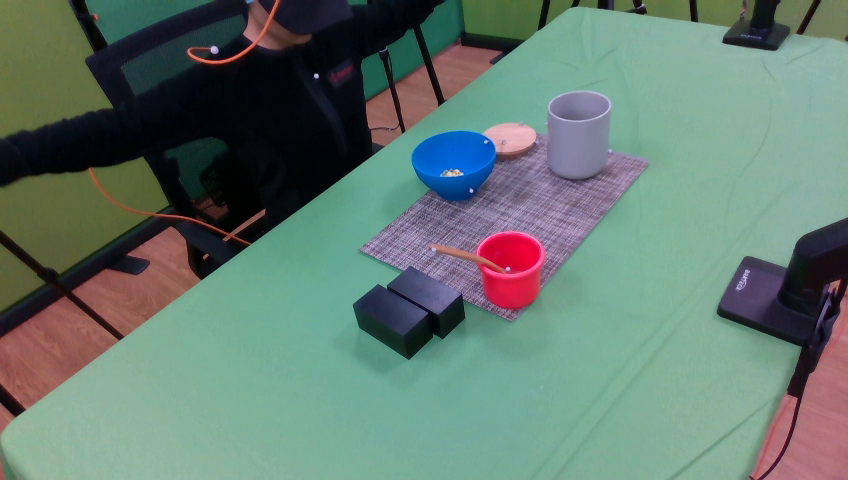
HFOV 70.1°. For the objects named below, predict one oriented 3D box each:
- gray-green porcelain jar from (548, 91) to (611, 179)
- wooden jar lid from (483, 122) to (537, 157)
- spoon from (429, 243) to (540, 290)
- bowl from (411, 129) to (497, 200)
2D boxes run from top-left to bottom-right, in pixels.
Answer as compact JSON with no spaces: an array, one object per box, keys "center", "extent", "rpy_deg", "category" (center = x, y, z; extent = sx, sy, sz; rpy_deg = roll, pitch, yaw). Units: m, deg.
[{"center":[0.269,-0.179,1.056],"extent":[0.106,0.127,0.105],"rpy_deg":[-6,40,5],"category":"gray-green porcelain jar"},{"center":[0.165,-0.195,1.177],"extent":[0.108,0.021,0.108],"rpy_deg":[-4,40,4],"category":"wooden jar lid"},{"center":[0.086,0.033,0.826],"extent":[0.195,0.021,0.041],"rpy_deg":[23,26,-33],"category":"spoon"},{"center":[0.056,-0.124,1.069],"extent":[0.151,0.077,0.150],"rpy_deg":[-5,40,5],"category":"bowl"}]
